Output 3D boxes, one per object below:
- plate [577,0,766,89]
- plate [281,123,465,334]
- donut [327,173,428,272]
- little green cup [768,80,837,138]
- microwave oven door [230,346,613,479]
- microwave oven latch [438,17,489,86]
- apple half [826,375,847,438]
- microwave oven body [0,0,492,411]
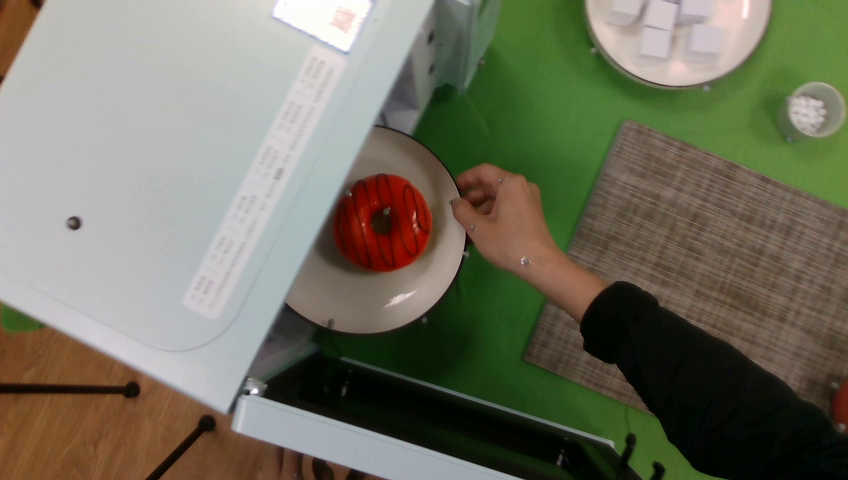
[{"bbox_3d":[0.276,-0.271,0.689,0.208,0.039,0.207,0,88,1],"label":"plate"},{"bbox_3d":[-0.065,-0.011,0.605,0.209,0.038,0.208,0,86,-2],"label":"plate"},{"bbox_3d":[-0.045,-0.016,0.594,0.099,0.048,0.099,0,84,-3],"label":"donut"},{"bbox_3d":[0.423,-0.145,0.682,0.061,0.038,0.061,0,87,1],"label":"little green cup"},{"bbox_3d":[0.031,0.181,0.557,0.356,0.244,0.039,17,87,2],"label":"microwave oven door"},{"bbox_3d":[0.043,-0.213,0.672,0.030,0.029,0.079,28,89,2],"label":"microwave oven latch"},{"bbox_3d":[0.469,0.172,0.649,0.053,0.075,0.081,42,93,6],"label":"apple half"},{"bbox_3d":[-0.169,-0.122,0.577,0.326,0.260,0.441,26,89,2],"label":"microwave oven body"}]
